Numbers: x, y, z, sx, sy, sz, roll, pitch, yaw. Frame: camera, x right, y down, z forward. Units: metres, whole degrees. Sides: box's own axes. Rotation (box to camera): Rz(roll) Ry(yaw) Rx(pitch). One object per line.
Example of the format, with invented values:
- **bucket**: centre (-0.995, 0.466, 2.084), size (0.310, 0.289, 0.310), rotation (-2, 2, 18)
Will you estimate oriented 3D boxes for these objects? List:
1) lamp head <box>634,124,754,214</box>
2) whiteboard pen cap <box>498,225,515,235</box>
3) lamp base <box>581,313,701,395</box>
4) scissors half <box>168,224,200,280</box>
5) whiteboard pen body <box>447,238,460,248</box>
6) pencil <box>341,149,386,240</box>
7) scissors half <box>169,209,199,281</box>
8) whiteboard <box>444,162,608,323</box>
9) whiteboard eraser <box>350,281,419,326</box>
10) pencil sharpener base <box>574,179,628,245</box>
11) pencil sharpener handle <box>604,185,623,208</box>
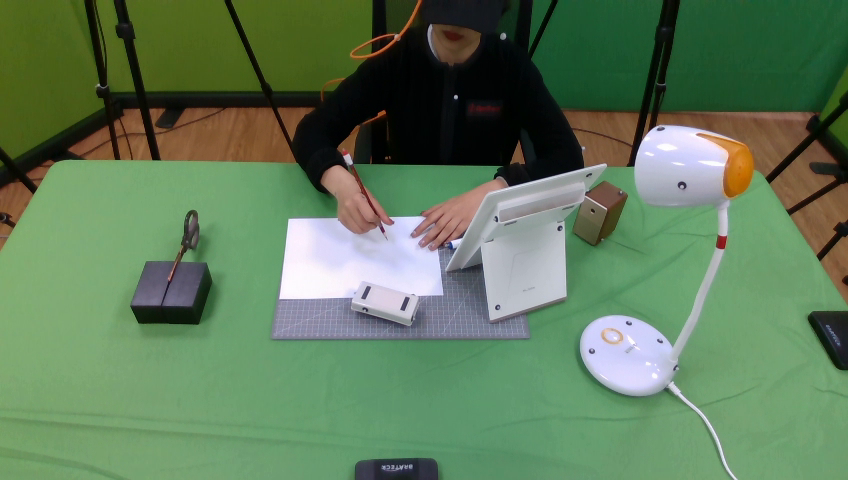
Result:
- **lamp head**: centre (0.351, -0.089, 0.775), size (0.112, 0.113, 0.122), rotation (-30, 30, -28)
- **whiteboard pen cap**: centre (0.166, -0.019, 1.222), size (0.033, 0.018, 0.018), rotation (-14, 49, -19)
- **lamp base**: centre (0.361, 0.144, 0.972), size (0.178, 0.181, 0.160), rotation (34, 53, 23)
- **scissors half**: centre (-0.440, 0.023, 1.111), size (0.013, 0.040, 0.174), rotation (7, 29, -6)
- **whiteboard pen body**: centre (0.112, -0.005, 1.203), size (0.141, 0.017, 0.017), rotation (-13, 49, -18)
- **pencil**: centre (-0.111, -0.083, 1.139), size (0.012, 0.195, 0.012), rotation (-20, 22, 9)
- **scissors half**: centre (-0.438, 0.007, 1.098), size (0.013, 0.040, 0.174), rotation (3, 48, -3)
- **whiteboard**: centre (0.186, 0.025, 1.029), size (0.217, 0.306, 0.143), rotation (-14, 68, -18)
- **whiteboard eraser**: centre (-0.069, 0.113, 1.065), size (0.112, 0.042, 0.055), rotation (14, 46, 9)
- **pencil sharpener base**: centre (0.355, -0.057, 1.217), size (0.076, 0.107, 0.061), rotation (-33, 56, -31)
- **pencil sharpener handle**: centre (0.390, -0.091, 1.235), size (0.030, 0.068, 0.036), rotation (-33, 69, -31)
